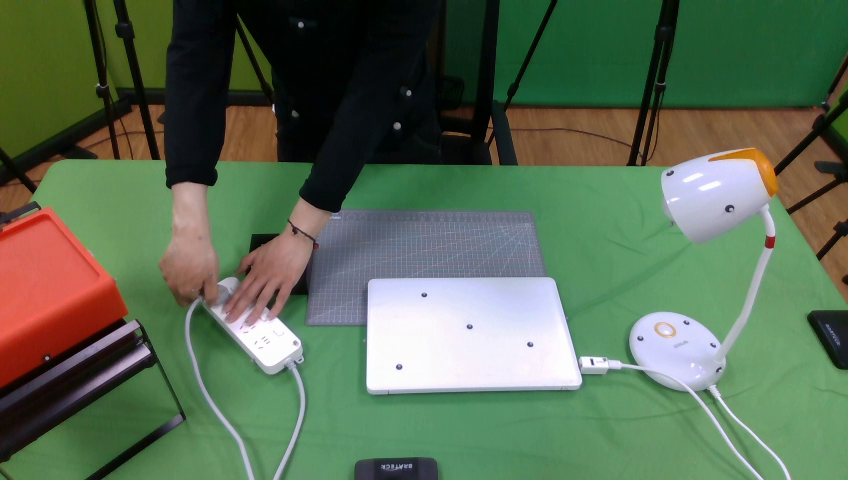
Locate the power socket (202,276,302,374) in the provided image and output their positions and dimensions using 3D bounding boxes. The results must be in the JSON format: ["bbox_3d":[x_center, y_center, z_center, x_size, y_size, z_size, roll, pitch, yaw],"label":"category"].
[{"bbox_3d":[-0.296,0.141,1.034,0.072,0.033,0.225,-34,58,-31],"label":"power socket"}]

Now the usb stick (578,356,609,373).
[{"bbox_3d":[0.274,0.207,1.007,0.059,0.027,0.021,0,52,0],"label":"usb stick"}]

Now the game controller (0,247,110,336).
[{"bbox_3d":[-0.511,0.063,0.830,0.097,0.052,0.154,-29,57,-33],"label":"game controller"}]

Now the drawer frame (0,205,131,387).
[{"bbox_3d":[-0.539,0.075,0.795,0.200,0.083,0.213,36,54,26],"label":"drawer frame"}]

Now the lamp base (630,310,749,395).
[{"bbox_3d":[0.447,0.142,0.984,0.161,0.181,0.178,-24,55,-24],"label":"lamp base"}]

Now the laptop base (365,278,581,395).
[{"bbox_3d":[0.076,0.162,1.053,0.355,0.023,0.234,0,44,-4],"label":"laptop base"}]

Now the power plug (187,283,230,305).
[{"bbox_3d":[-0.369,0.098,1.036,0.072,0.053,0.035,-23,52,-25],"label":"power plug"}]

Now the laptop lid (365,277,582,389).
[{"bbox_3d":[0.077,0.152,1.046,0.357,0.013,0.240,1,45,-3],"label":"laptop lid"}]

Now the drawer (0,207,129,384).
[{"bbox_3d":[-0.539,0.074,0.798,0.193,0.073,0.211,37,55,27],"label":"drawer"}]

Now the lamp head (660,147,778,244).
[{"bbox_3d":[0.389,-0.063,0.784,0.123,0.113,0.112,-22,33,37],"label":"lamp head"}]

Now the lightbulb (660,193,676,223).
[{"bbox_3d":[0.368,-0.059,0.807,0.060,0.107,0.059,19,59,-35],"label":"lightbulb"}]
